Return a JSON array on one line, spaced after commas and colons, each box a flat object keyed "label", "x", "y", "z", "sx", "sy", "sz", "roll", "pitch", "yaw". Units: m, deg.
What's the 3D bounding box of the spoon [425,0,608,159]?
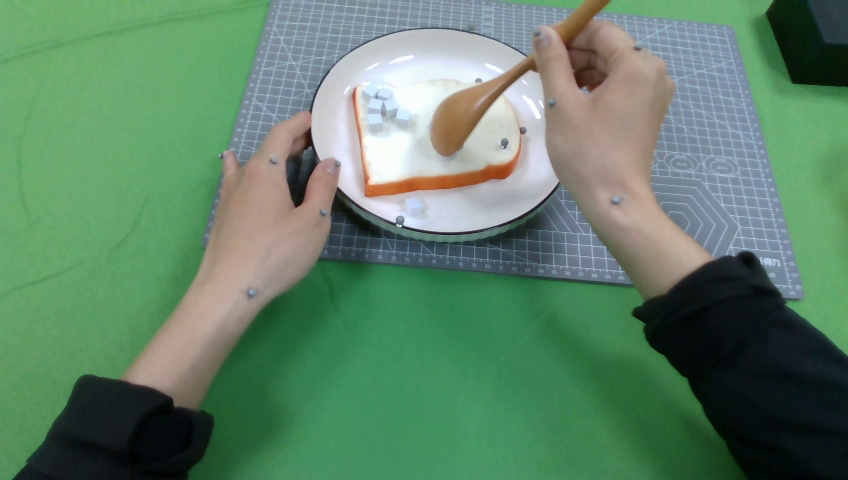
[{"label": "spoon", "x": 0.063, "y": -0.117, "z": 0.400, "sx": 0.022, "sy": 0.194, "sz": 0.041, "roll": 9, "pitch": 54, "yaw": -47}]

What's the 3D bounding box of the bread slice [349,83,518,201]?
[{"label": "bread slice", "x": 0.009, "y": -0.086, "z": 0.488, "sx": 0.132, "sy": 0.019, "sz": 0.104, "roll": -8, "pitch": 61, "yaw": -9}]

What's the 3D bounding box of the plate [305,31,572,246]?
[{"label": "plate", "x": 0.011, "y": -0.082, "z": 0.483, "sx": 0.209, "sy": 0.038, "sz": 0.207, "roll": 2, "pitch": 60, "yaw": -4}]
